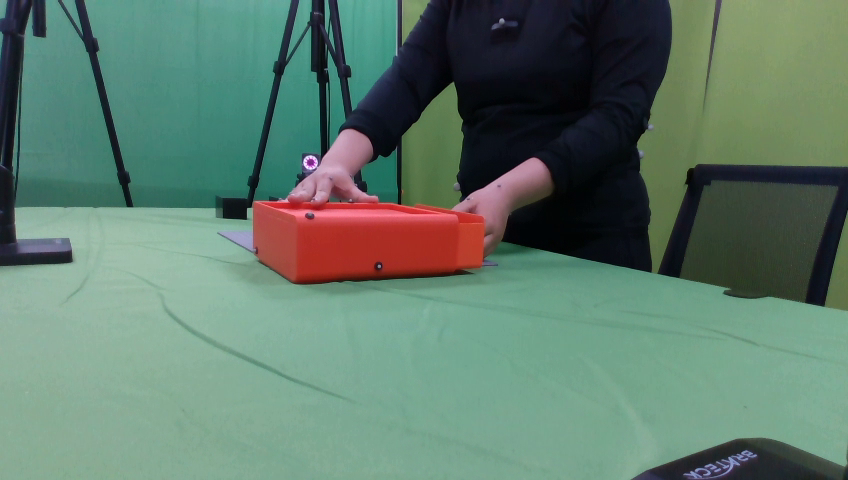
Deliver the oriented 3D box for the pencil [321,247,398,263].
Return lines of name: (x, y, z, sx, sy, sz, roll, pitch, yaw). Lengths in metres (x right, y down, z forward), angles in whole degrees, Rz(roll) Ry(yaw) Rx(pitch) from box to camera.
pencil: (-0.080, 0.018, 0.810, 0.012, 0.012, 0.195, 6, 6, 25)

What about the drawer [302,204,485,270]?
drawer: (-0.058, -0.006, 0.810, 0.213, 0.073, 0.193, -3, 10, -29)

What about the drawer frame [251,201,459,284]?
drawer frame: (-0.095, -0.005, 0.788, 0.215, 0.082, 0.200, -2, 10, -30)
